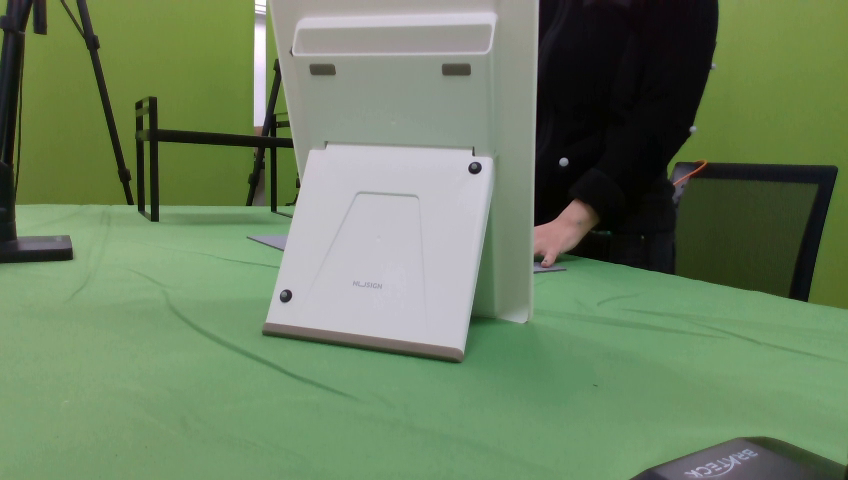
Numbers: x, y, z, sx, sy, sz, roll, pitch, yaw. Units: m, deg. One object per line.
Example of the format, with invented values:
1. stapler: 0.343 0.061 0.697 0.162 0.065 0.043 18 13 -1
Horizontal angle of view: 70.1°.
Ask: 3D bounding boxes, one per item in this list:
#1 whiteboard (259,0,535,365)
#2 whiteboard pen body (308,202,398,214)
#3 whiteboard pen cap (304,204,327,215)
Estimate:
1. whiteboard: -0.037 -0.041 0.457 0.216 0.305 0.144 5 28 19
2. whiteboard pen body: -0.108 -0.049 0.932 0.141 0.017 0.017 -3 9 -21
3. whiteboard pen cap: -0.163 -0.046 0.911 0.033 0.018 0.018 -3 9 -20
